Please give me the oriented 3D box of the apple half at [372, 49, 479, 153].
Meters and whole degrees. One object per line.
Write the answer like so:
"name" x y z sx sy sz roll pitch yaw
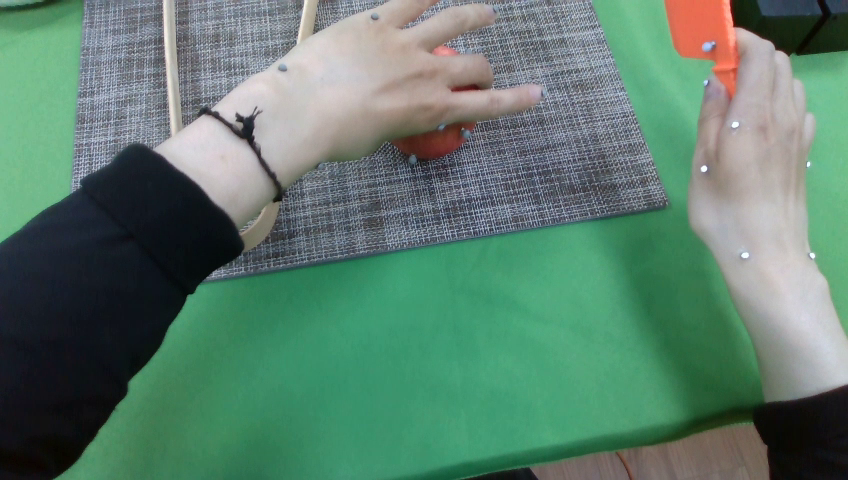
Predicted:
"apple half" -0.004 -0.095 0.452 0.080 0.075 0.053 22 70 7

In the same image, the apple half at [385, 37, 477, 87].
"apple half" 0.009 -0.129 0.466 0.081 0.082 0.032 21 71 9

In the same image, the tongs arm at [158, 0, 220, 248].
"tongs arm" -0.205 -0.167 0.506 0.028 0.028 0.384 -10 67 -10

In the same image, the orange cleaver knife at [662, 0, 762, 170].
"orange cleaver knife" 0.182 -0.148 0.397 0.012 0.076 0.213 -24 110 -7

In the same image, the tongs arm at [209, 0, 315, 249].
"tongs arm" -0.120 -0.173 0.508 0.051 0.027 0.382 2 67 -1
